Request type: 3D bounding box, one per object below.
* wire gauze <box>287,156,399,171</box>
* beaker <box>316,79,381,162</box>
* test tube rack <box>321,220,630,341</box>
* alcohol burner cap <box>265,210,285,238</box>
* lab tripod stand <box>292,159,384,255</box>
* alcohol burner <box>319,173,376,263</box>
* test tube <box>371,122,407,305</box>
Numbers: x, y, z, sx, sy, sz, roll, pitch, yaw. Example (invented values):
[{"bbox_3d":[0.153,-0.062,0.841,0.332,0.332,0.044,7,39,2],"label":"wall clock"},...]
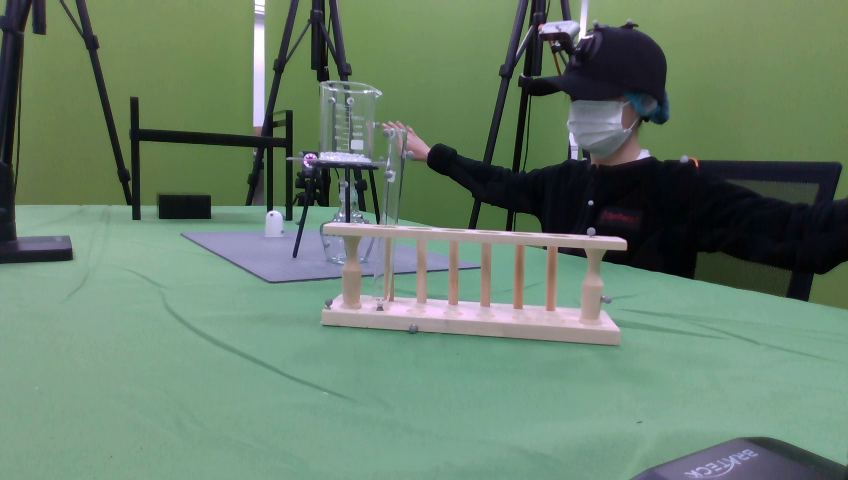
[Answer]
[{"bbox_3d":[-0.101,-0.103,0.788,0.121,0.011,0.125,5,4,5],"label":"wire gauze"},{"bbox_3d":[-0.098,-0.151,0.778,0.084,0.100,0.074,4,7,6],"label":"beaker"},{"bbox_3d":[0.041,0.029,0.512,0.242,0.085,0.067,3,7,5],"label":"test tube rack"},{"bbox_3d":[-0.253,-0.027,1.027,0.034,0.048,0.034,2,8,0],"label":"alcohol burner cap"},{"bbox_3d":[-0.105,-0.039,0.797,0.148,0.131,0.148,2,5,0],"label":"lab tripod stand"},{"bbox_3d":[-0.101,-0.030,0.804,0.078,0.119,0.078,0,6,0],"label":"alcohol burner"},{"bbox_3d":[-0.029,-0.020,0.493,0.017,0.150,0.017,6,9,-1],"label":"test tube"}]
